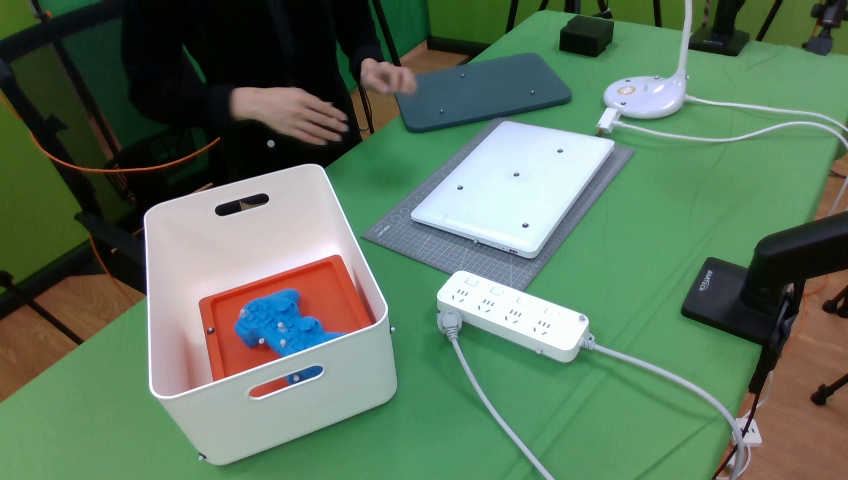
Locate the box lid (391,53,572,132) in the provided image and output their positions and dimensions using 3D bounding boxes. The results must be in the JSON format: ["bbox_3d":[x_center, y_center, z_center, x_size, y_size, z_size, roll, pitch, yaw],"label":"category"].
[{"bbox_3d":[0.122,-0.339,1.366,0.372,0.015,0.261,-12,40,-5],"label":"box lid"}]

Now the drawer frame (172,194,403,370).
[{"bbox_3d":[-0.170,0.080,0.765,0.201,0.214,0.082,-29,18,26],"label":"drawer frame"}]

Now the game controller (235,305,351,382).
[{"bbox_3d":[-0.159,0.111,0.734,0.154,0.052,0.097,29,55,35],"label":"game controller"}]

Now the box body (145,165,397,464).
[{"bbox_3d":[-0.205,0.080,0.802,0.255,0.161,0.361,-18,41,-13],"label":"box body"}]

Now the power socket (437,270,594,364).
[{"bbox_3d":[0.118,0.102,0.830,0.225,0.033,0.072,20,48,28],"label":"power socket"}]

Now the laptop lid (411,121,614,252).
[{"bbox_3d":[0.164,-0.112,1.068,0.240,0.013,0.357,19,46,30],"label":"laptop lid"}]

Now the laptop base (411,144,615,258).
[{"bbox_3d":[0.167,-0.102,1.074,0.234,0.023,0.355,16,45,30],"label":"laptop base"}]

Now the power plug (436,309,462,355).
[{"bbox_3d":[0.032,0.126,0.810,0.035,0.053,0.072,3,59,7],"label":"power plug"}]

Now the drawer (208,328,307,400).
[{"bbox_3d":[-0.171,0.126,0.779,0.195,0.073,0.210,-18,35,-14],"label":"drawer"}]

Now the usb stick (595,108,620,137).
[{"bbox_3d":[0.355,-0.225,1.175,0.027,0.022,0.059,29,85,41],"label":"usb stick"}]

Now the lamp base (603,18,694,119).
[{"bbox_3d":[0.460,-0.355,1.205,0.179,0.181,0.160,2,41,7],"label":"lamp base"}]

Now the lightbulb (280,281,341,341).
[{"bbox_3d":[-0.152,0.100,0.825,0.107,0.060,0.060,38,57,26],"label":"lightbulb"}]
